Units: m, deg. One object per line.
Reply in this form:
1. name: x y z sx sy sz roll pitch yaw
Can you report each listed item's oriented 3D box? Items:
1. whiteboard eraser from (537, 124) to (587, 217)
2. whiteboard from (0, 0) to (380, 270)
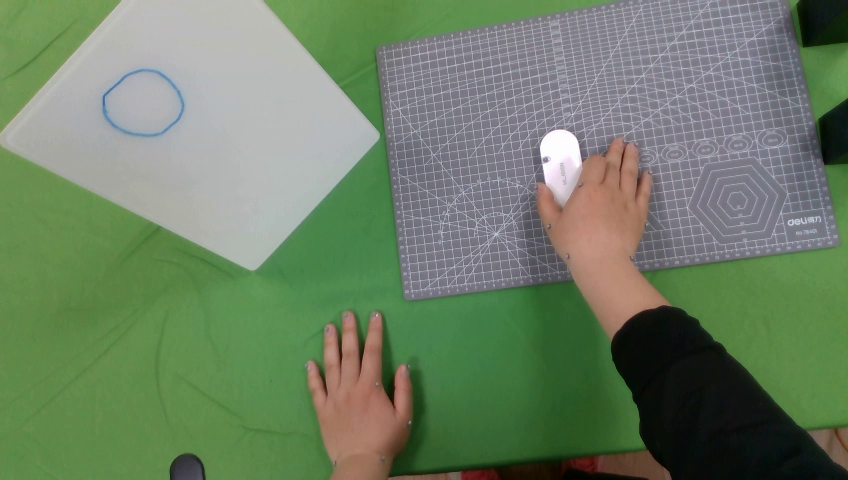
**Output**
1. whiteboard eraser: 0.147 -0.075 0.648 0.041 0.019 0.101 -10 82 8
2. whiteboard: -0.223 -0.137 0.599 0.217 0.308 0.142 -47 59 1
